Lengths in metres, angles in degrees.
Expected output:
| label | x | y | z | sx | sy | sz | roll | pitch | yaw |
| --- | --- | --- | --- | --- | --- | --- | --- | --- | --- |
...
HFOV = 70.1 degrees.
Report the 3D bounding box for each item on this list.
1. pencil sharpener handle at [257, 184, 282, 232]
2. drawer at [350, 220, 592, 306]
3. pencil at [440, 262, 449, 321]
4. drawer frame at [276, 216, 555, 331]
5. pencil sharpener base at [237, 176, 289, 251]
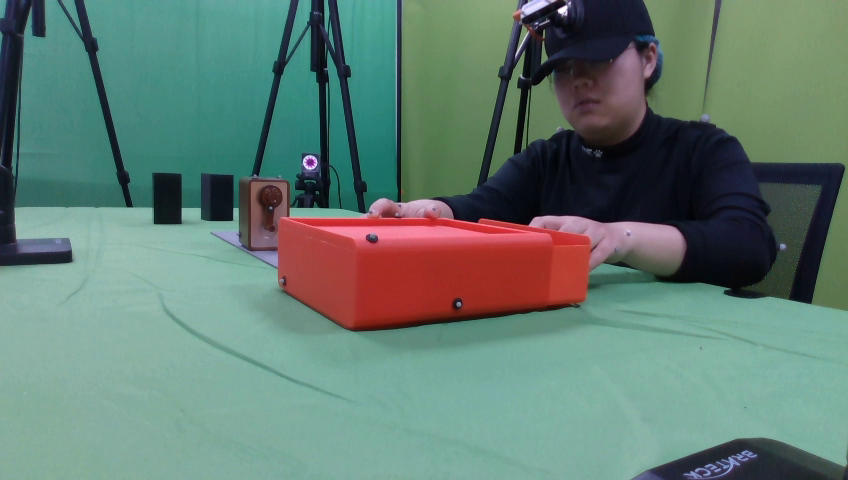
| label | x | y | z | sx | sy | sz | roll | pitch | yaw |
| --- | --- | --- | --- | --- | --- | --- | --- | --- | --- |
| pencil sharpener handle | -0.220 | -0.046 | 0.865 | 0.036 | 0.067 | 0.030 | 7 | 5 | -29 |
| drawer | 0.031 | 0.022 | 0.638 | 0.213 | 0.073 | 0.193 | -2 | 9 | -31 |
| pencil | 0.022 | 0.052 | 0.641 | 0.012 | 0.012 | 0.194 | 3 | 13 | 1 |
| drawer frame | -0.015 | 0.022 | 0.610 | 0.215 | 0.082 | 0.200 | -2 | 9 | -32 |
| pencil sharpener base | -0.243 | -0.040 | 0.911 | 0.061 | 0.107 | 0.076 | -1 | 8 | -28 |
